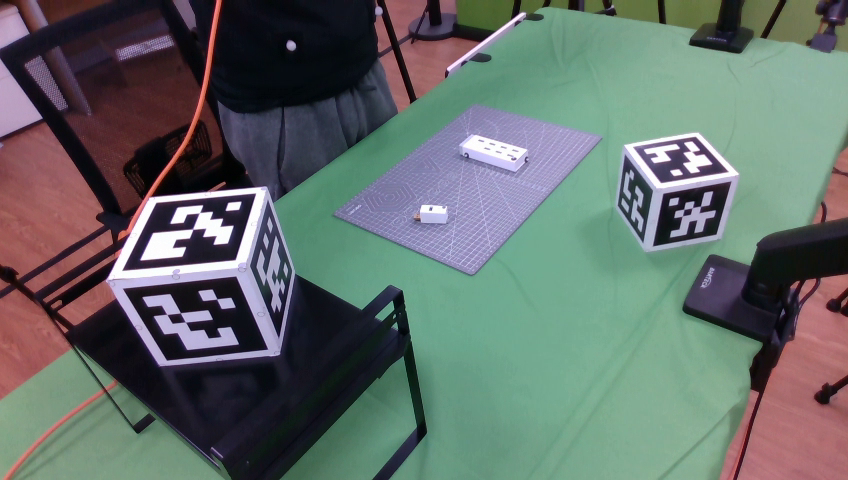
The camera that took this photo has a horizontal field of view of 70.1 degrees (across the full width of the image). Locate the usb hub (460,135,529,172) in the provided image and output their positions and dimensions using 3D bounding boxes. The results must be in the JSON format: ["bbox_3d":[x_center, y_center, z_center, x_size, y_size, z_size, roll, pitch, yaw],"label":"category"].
[{"bbox_3d":[0.132,-0.164,1.137,0.124,0.025,0.049,22,49,30],"label":"usb hub"}]

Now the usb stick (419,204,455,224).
[{"bbox_3d":[0.024,-0.042,1.005,0.059,0.027,0.021,10,70,17],"label":"usb stick"}]
